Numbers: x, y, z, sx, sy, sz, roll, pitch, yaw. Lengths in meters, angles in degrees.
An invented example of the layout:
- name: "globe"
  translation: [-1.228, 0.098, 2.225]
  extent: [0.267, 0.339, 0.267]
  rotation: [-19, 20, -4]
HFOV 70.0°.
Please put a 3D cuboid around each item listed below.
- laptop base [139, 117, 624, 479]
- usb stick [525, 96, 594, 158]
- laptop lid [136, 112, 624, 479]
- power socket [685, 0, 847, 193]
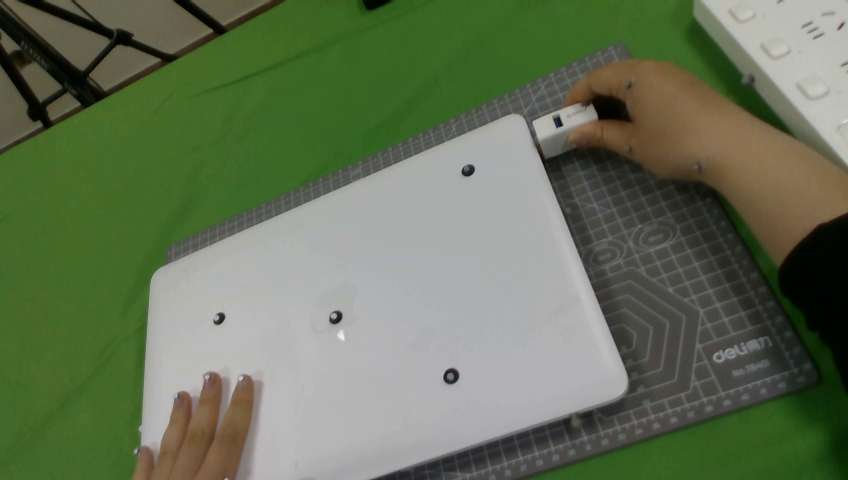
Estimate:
- name: "laptop base"
  translation: [-0.061, 0.061, 0.452]
  extent: [0.354, 0.023, 0.233]
  rotation: [-22, 57, 11]
- name: "usb stick"
  translation: [0.093, -0.080, 0.448]
  extent: [0.059, 0.027, 0.021]
  rotation: [-25, 48, 16]
- name: "laptop lid"
  translation: [-0.065, 0.057, 0.441]
  extent: [0.356, 0.013, 0.239]
  rotation: [-21, 57, 13]
- name: "power socket"
  translation: [0.254, -0.122, 0.404]
  extent: [0.072, 0.033, 0.224]
  rotation: [-24, 53, 9]
